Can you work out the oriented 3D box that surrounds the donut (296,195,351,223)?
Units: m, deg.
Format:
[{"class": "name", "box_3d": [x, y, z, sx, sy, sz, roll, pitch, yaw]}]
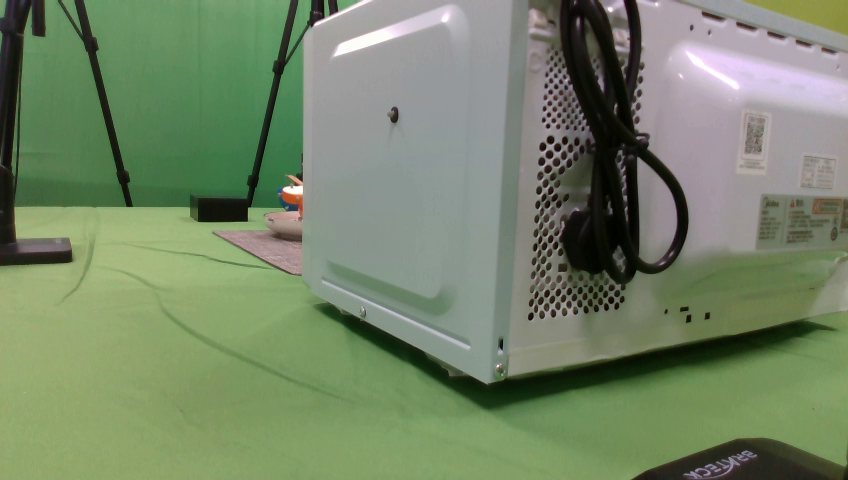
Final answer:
[{"class": "donut", "box_3d": [-0.179, -0.057, 1.078, 0.099, 0.048, 0.099, 4, 1, 0]}]

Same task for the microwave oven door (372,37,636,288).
[{"class": "microwave oven door", "box_3d": [0.110, -0.080, 0.686, 0.358, 0.243, 0.039, -2, 9, -33]}]

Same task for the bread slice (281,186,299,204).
[{"class": "bread slice", "box_3d": [-0.185, -0.082, 1.071, 0.132, 0.019, 0.104, -2, 14, -18]}]

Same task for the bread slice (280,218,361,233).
[{"class": "bread slice", "box_3d": [-0.187, -0.026, 1.075, 0.135, 0.018, 0.106, -1, 7, -22]}]

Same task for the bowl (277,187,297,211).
[{"class": "bowl", "box_3d": [-0.241, -0.073, 1.303, 0.151, 0.077, 0.151, 2, 7, 0]}]

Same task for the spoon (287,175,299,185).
[{"class": "spoon", "box_3d": [-0.262, -0.110, 1.342, 0.042, 0.021, 0.192, -6, 32, -34]}]

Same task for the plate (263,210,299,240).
[{"class": "plate", "box_3d": [-0.180, -0.026, 1.079, 0.208, 0.039, 0.207, 3, 7, 0]}]

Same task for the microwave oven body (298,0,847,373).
[{"class": "microwave oven body", "box_3d": [0.151, -0.055, 0.542, 0.444, 0.260, 0.324, -1, 7, -33]}]

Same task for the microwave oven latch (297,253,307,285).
[{"class": "microwave oven latch", "box_3d": [-0.082, 0.027, 0.582, 0.079, 0.029, 0.030, -2, 8, -33]}]
